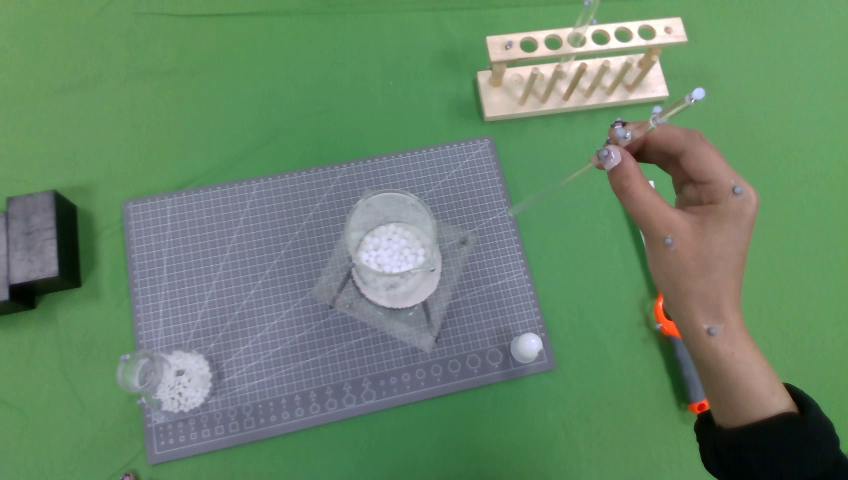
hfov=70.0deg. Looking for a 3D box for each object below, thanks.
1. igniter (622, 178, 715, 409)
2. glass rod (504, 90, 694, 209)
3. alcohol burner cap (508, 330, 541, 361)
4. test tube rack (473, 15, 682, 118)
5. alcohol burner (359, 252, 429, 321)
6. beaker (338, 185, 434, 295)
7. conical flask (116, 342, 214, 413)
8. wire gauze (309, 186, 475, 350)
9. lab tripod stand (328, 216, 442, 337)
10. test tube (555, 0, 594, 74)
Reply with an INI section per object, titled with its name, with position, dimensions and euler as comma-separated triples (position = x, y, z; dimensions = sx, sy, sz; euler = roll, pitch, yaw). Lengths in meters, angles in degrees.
[igniter]
position = 0.287, 0.057, 0.712
dimensions = 0.057, 0.025, 0.275
euler = -7, 74, -17
[glass rod]
position = 0.103, -0.052, 0.404
dimensions = 0.008, 0.199, 0.008
euler = 6, 74, -20
[alcohol burner cap]
position = 0.114, 0.114, 0.673
dimensions = 0.034, 0.048, 0.033
euler = 1, 72, -4
[test tube rack]
position = 0.190, -0.215, 0.755
dimensions = 0.243, 0.085, 0.066
euler = -8, 74, -6
[alcohol burner]
position = -0.033, 0.046, 0.646
dimensions = 0.078, 0.119, 0.077
euler = 1, 74, -2
[beaker]
position = -0.029, 0.007, 0.528
dimensions = 0.084, 0.100, 0.074
euler = 38, 75, 7
[conical flask]
position = -0.260, 0.132, 0.600
dimensions = 0.075, 0.122, 0.075
euler = 1, 73, -3
[wire gauze]
position = -0.028, 0.023, 0.574
dimensions = 0.125, 0.011, 0.121
euler = 25, 76, 2
[lab tripod stand]
position = -0.035, 0.040, 0.637
dimensions = 0.148, 0.132, 0.147
euler = 1, 75, -2
[test tube]
position = 0.174, -0.241, 0.710
dimensions = 0.017, 0.151, 0.017
euler = 0, 73, -1
